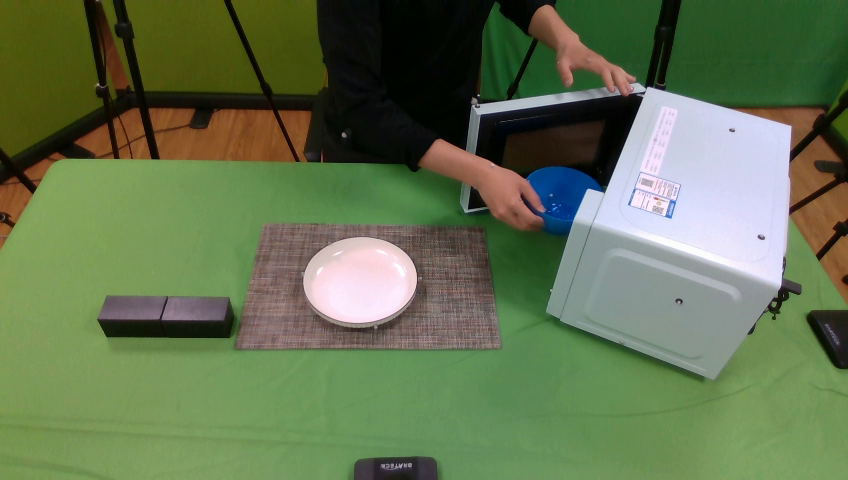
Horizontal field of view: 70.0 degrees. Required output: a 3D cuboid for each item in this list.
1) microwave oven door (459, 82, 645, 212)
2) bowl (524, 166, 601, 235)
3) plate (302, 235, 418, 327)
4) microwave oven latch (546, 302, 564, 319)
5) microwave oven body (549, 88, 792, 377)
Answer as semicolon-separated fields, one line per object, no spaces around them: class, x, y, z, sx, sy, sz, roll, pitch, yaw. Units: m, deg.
microwave oven door;0.253;-0.185;1.217;0.356;0.245;0.039;-11;48;-14
bowl;0.254;-0.062;1.135;0.151;0.077;0.150;4;46;-4
plate;-0.114;0.077;1.098;0.208;0.039;0.206;2;46;-2
microwave oven latch;0.242;0.102;1.081;0.030;0.029;0.079;22;48;17
microwave oven body;0.456;-0.028;1.088;0.325;0.261;0.440;20;47;16
